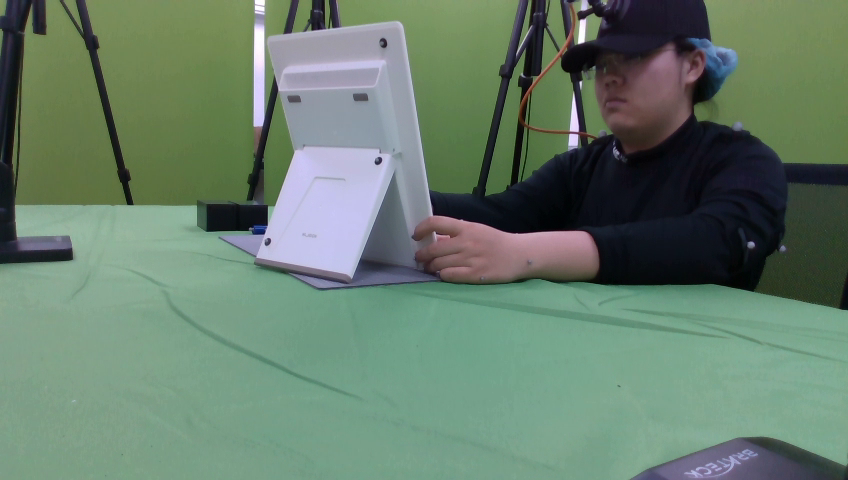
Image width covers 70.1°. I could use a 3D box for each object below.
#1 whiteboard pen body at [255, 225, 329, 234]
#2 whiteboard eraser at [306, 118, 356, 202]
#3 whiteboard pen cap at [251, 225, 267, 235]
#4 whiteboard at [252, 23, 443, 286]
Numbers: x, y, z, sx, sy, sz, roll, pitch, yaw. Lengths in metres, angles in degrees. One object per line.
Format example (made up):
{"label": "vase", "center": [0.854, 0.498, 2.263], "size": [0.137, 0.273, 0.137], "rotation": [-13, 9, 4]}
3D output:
{"label": "whiteboard pen body", "center": [-0.239, -0.019, 1.105], "size": [0.141, 0.017, 0.017], "rotation": [-2, 9, -34]}
{"label": "whiteboard eraser", "center": [-0.128, -0.108, 0.821], "size": [0.055, 0.113, 0.042], "rotation": [15, 32, 37]}
{"label": "whiteboard pen cap", "center": [-0.288, -0.019, 1.072], "size": [0.033, 0.018, 0.018], "rotation": [-3, 10, -34]}
{"label": "whiteboard", "center": [-0.125, -0.080, 0.715], "size": [0.216, 0.305, 0.144], "rotation": [8, 29, 36]}
